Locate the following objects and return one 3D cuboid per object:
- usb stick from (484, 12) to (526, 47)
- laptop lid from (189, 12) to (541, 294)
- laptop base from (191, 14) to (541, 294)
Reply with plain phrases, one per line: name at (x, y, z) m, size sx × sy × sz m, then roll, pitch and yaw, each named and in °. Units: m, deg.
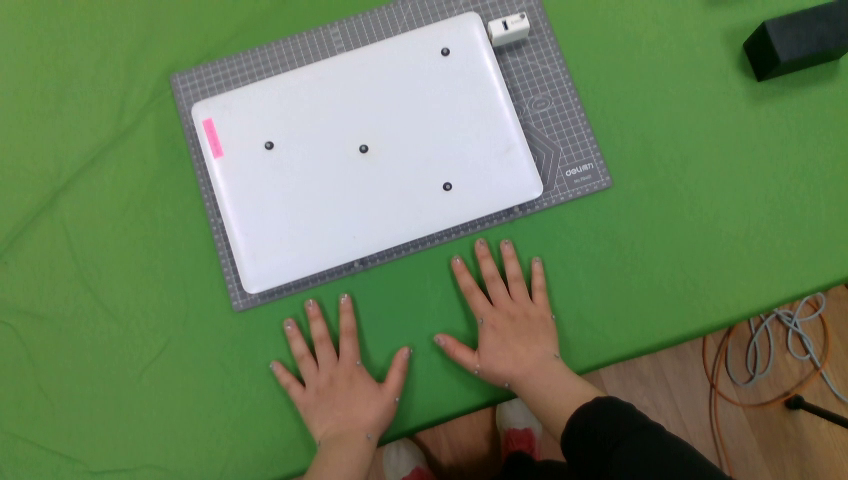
usb stick at (0.086, -0.242, 0.702) m, size 0.059 × 0.027 × 0.021 m, roll -17°, pitch 79°, yaw 2°
laptop lid at (-0.070, -0.103, 0.685) m, size 0.357 × 0.013 × 0.240 m, roll -18°, pitch 82°, yaw -1°
laptop base at (-0.070, -0.103, 0.696) m, size 0.354 × 0.023 × 0.234 m, roll -19°, pitch 83°, yaw -1°
